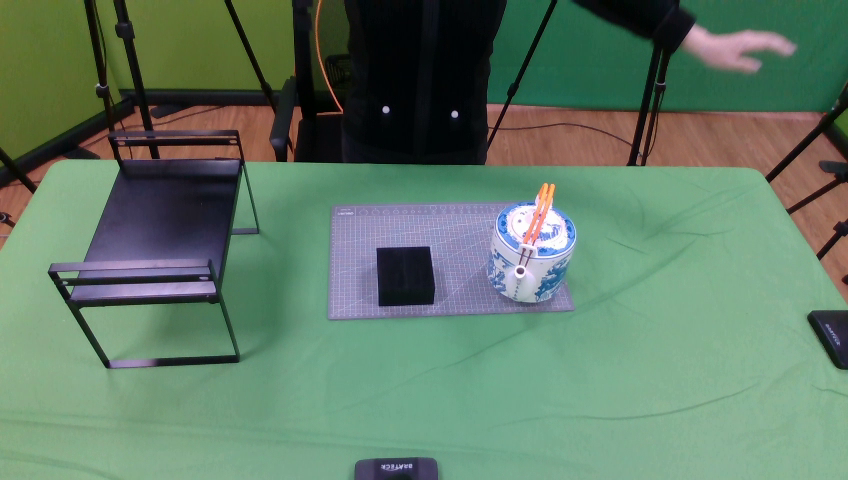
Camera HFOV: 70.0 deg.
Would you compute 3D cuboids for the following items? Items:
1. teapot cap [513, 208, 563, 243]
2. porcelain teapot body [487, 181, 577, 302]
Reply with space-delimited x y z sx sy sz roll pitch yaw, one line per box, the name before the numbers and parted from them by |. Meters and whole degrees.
teapot cap | 0.196 -0.029 1.039 0.085 0.044 0.084 3 49 -3
porcelain teapot body | 0.185 0.018 1.048 0.145 0.226 0.204 15 48 10
